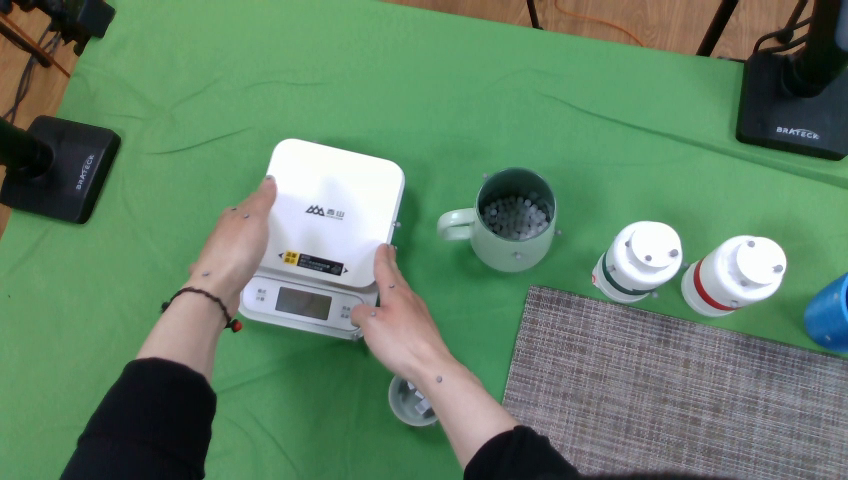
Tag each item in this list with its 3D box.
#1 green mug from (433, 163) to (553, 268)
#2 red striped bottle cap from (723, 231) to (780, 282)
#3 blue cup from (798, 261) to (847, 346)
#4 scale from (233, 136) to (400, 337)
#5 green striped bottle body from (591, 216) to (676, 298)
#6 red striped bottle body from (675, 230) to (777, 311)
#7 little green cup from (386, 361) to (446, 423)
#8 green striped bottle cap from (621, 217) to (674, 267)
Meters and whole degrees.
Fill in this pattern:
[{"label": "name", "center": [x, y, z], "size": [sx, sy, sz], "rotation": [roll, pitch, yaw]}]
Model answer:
[{"label": "green mug", "center": [0.071, -0.021, 0.631], "size": [0.125, 0.105, 0.092], "rotation": [-8, 74, 2]}, {"label": "red striped bottle cap", "center": [0.294, 0.015, 0.543], "size": [0.044, 0.018, 0.044], "rotation": [-1, 76, 5]}, {"label": "blue cup", "center": [0.416, 0.064, 0.585], "size": [0.092, 0.101, 0.092], "rotation": [-1, 73, 5]}, {"label": "scale", "center": [-0.115, -0.006, 0.653], "size": [0.148, 0.031, 0.200], "rotation": [12, 80, 2]}, {"label": "green striped bottle body", "center": [0.209, 0.017, 0.603], "size": [0.063, 0.120, 0.063], "rotation": [-1, 73, 4]}, {"label": "red striped bottle body", "center": [0.297, 0.030, 0.594], "size": [0.063, 0.120, 0.062], "rotation": [-1, 74, 3]}, {"label": "little green cup", "center": [-0.006, 0.156, 0.620], "size": [0.061, 0.039, 0.061], "rotation": [-1, 74, 4]}, {"label": "green striped bottle cap", "center": [0.204, 0.001, 0.553], "size": [0.044, 0.020, 0.044], "rotation": [-1, 75, 3]}]
